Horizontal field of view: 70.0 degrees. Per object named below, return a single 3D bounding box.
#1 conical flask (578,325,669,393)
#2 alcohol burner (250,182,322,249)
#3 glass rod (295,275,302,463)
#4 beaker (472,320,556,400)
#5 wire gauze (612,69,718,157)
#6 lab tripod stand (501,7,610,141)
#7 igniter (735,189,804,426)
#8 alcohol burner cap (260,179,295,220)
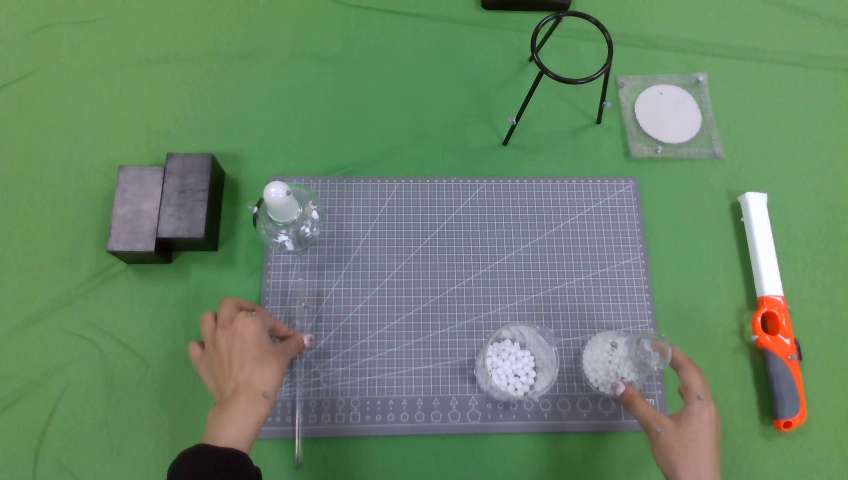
[{"bbox_3d":[0.210,0.117,0.625,0.075,0.122,0.075,1,73,-2],"label":"conical flask"},{"bbox_3d":[-0.152,-0.032,0.655,0.078,0.119,0.077,0,74,0],"label":"alcohol burner"},{"bbox_3d":[-0.135,0.137,0.651,0.008,0.008,0.199,-1,84,-3],"label":"glass rod"},{"bbox_3d":[0.091,0.126,0.629,0.084,0.101,0.073,-42,79,-14],"label":"beaker"},{"bbox_3d":[0.309,-0.163,0.775,0.125,0.011,0.121,-1,74,-5],"label":"wire gauze"},{"bbox_3d":[0.151,-0.190,0.710,0.148,0.132,0.147,1,75,-3],"label":"lab tripod stand"},{"bbox_3d":[0.398,0.072,0.701,0.057,0.025,0.275,3,73,-13],"label":"igniter"},{"bbox_3d":[-0.151,-0.045,0.621,0.034,0.048,0.033,2,66,-4],"label":"alcohol burner cap"}]
